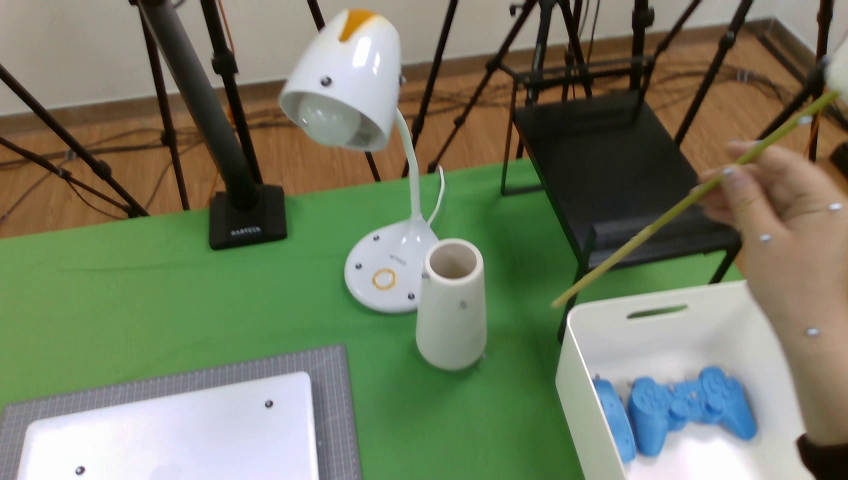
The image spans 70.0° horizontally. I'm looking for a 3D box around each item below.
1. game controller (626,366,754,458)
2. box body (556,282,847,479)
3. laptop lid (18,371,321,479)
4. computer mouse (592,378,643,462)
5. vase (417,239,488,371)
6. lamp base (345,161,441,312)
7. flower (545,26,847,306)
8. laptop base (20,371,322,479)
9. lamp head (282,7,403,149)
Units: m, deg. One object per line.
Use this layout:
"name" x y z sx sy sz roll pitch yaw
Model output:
"game controller" 0.334 0.213 0.766 0.155 0.052 0.096 -6 49 -7
"box body" 0.316 0.249 0.668 0.254 0.162 0.360 -8 51 -5
"laptop lid" -0.300 0.289 0.714 0.357 0.013 0.239 -8 53 -6
"computer mouse" 0.225 0.222 0.760 0.063 0.041 0.116 -11 42 -6
"vase" 0.036 0.086 0.778 0.098 0.202 0.097 -1 49 2
"lamp base" -0.036 -0.016 0.874 0.160 0.182 0.178 18 50 14
"flower" 0.184 -0.029 0.433 0.038 0.363 0.043 0 60 -26
"laptop base" -0.301 0.294 0.725 0.355 0.023 0.233 -9 55 -7
"lamp head" -0.069 -0.165 0.609 0.112 0.113 0.122 15 70 13
